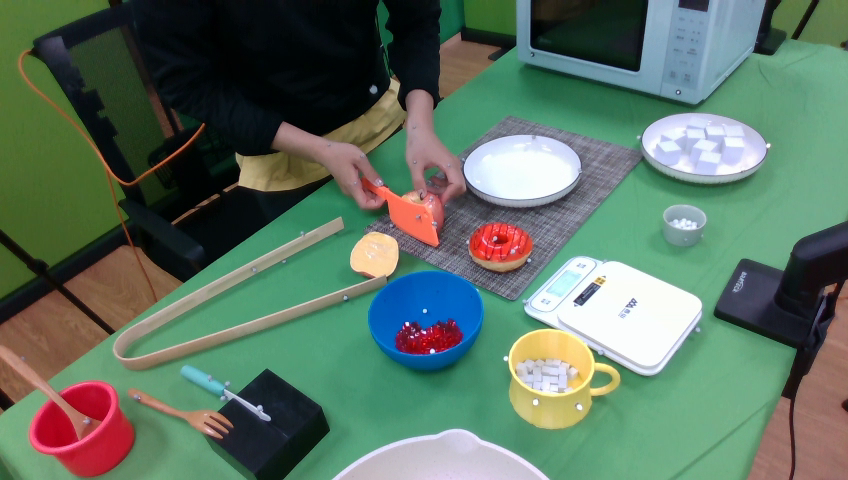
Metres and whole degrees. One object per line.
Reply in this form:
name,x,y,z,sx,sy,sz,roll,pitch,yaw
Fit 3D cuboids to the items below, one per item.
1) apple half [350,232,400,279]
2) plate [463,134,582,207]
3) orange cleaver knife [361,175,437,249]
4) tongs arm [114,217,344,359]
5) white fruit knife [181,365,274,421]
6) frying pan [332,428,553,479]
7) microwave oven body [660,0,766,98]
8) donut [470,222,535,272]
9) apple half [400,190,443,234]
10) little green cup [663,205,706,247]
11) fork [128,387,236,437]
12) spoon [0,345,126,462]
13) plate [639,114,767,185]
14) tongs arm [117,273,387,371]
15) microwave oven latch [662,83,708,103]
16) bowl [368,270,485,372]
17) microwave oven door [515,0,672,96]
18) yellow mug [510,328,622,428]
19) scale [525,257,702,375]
apple half,-0.071,0.029,0.940,0.081,0.033,0.081,-2,64,5
plate,0.173,-0.119,1.070,0.209,0.038,0.208,-4,40,4
orange cleaver knife,-0.043,-0.050,0.993,0.012,0.077,0.209,-21,35,-31
tongs arm,-0.280,0.068,0.927,0.386,0.026,0.050,-29,49,-22
white fruit knife,-0.245,0.187,0.747,0.205,0.027,0.016,9,41,40
frying pan,-0.089,0.306,0.564,0.487,0.103,0.306,10,41,7
microwave oven body,0.472,-0.513,1.317,0.438,0.261,0.327,26,51,34
donut,0.119,0.009,0.923,0.099,0.048,0.098,-4,38,3
apple half,0.002,-0.043,0.981,0.053,0.075,0.080,-26,39,-31
little green cup,0.396,-0.020,0.926,0.061,0.039,0.061,-4,40,4
fork,-0.305,0.208,0.744,0.206,0.019,0.028,3,42,36
spoon,-0.434,0.192,0.720,0.194,0.021,0.042,47,53,-7
plate,0.489,-0.157,1.074,0.207,0.039,0.206,-4,40,4
tongs arm,-0.237,0.115,0.870,0.389,0.028,0.028,-18,49,-12
microwave oven latch,0.518,-0.296,1.204,0.078,0.029,0.030,28,52,35
bowl,0.007,0.118,0.791,0.151,0.077,0.150,-4,40,4
microwave oven door,0.343,-0.455,1.259,0.353,0.245,0.039,26,51,33
yellow mug,0.168,0.164,0.722,0.130,0.064,0.099,0,40,8
scale,0.254,0.091,0.821,0.199,0.032,0.149,28,51,35
